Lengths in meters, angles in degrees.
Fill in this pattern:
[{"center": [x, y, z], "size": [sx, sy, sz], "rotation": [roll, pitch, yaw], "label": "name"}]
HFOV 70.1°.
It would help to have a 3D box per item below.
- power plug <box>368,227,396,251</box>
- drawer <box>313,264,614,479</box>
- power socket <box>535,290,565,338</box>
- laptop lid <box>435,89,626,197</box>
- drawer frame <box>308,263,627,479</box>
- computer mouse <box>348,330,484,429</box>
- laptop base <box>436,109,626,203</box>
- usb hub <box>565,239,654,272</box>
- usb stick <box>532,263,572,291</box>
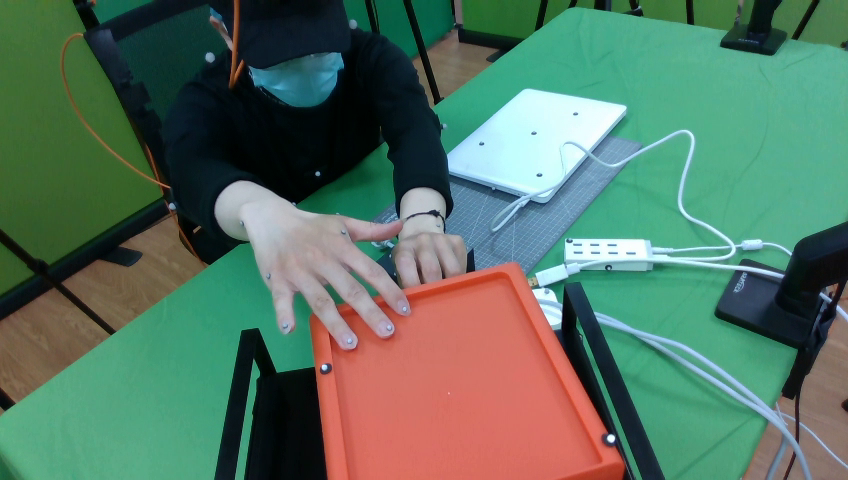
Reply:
[{"center": [-0.065, 0.009, 0.956], "size": [0.035, 0.053, 0.072], "rotation": [-31, 54, 2], "label": "power plug"}, {"center": [0.019, 0.131, 0.495], "size": [0.195, 0.073, 0.210], "rotation": [-12, 41, -6], "label": "drawer"}, {"center": [0.081, 0.112, 0.822], "size": [0.227, 0.033, 0.072], "rotation": [-7, 41, 0], "label": "power socket"}, {"center": [0.211, -0.202, 1.165], "size": [0.240, 0.013, 0.358], "rotation": [21, 47, 32], "label": "laptop lid"}, {"center": [0.021, 0.131, 0.492], "size": [0.202, 0.083, 0.212], "rotation": [-13, 41, -8], "label": "drawer frame"}, {"center": [-0.005, 0.119, 0.532], "size": [0.117, 0.041, 0.063], "rotation": [20, 39, 13], "label": "computer mouse"}, {"center": [0.214, -0.192, 1.172], "size": [0.233, 0.023, 0.355], "rotation": [19, 46, 32], "label": "laptop base"}, {"center": [0.275, 0.022, 0.906], "size": [0.125, 0.025, 0.049], "rotation": [1, 41, 9], "label": "usb hub"}, {"center": [0.182, 0.057, 0.875], "size": [0.059, 0.021, 0.027], "rotation": [-31, 0, -6], "label": "usb stick"}]
